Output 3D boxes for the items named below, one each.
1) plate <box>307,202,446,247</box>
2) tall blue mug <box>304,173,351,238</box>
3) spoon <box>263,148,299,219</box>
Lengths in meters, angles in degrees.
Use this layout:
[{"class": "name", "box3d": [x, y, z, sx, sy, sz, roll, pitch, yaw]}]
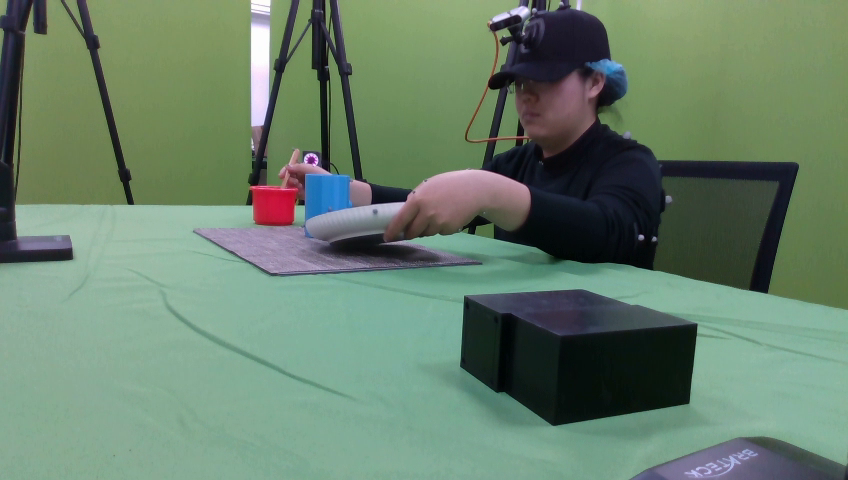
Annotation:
[{"class": "plate", "box3d": [-0.068, -0.019, 0.903, 0.208, 0.039, 0.207, -7, -5, 0]}, {"class": "tall blue mug", "box3d": [-0.178, -0.062, 1.062, 0.078, 0.108, 0.106, -4, 10, -38]}, {"class": "spoon", "box3d": [-0.291, -0.120, 1.267, 0.041, 0.193, 0.021, 12, -30, 1]}]
